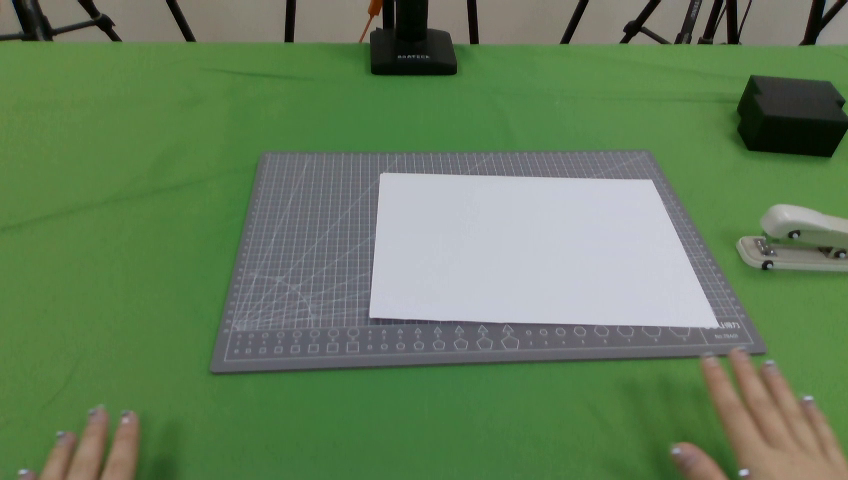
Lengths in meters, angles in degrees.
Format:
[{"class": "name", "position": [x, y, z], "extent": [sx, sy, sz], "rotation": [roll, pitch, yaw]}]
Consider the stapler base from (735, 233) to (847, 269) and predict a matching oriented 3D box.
[{"class": "stapler base", "position": [0.373, 0.005, 0.586], "extent": [0.131, 0.024, 0.041], "rotation": [3, 46, -3]}]

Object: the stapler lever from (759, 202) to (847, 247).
[{"class": "stapler lever", "position": [0.375, -0.013, 0.570], "extent": [0.118, 0.040, 0.026], "rotation": [2, 46, -2]}]
